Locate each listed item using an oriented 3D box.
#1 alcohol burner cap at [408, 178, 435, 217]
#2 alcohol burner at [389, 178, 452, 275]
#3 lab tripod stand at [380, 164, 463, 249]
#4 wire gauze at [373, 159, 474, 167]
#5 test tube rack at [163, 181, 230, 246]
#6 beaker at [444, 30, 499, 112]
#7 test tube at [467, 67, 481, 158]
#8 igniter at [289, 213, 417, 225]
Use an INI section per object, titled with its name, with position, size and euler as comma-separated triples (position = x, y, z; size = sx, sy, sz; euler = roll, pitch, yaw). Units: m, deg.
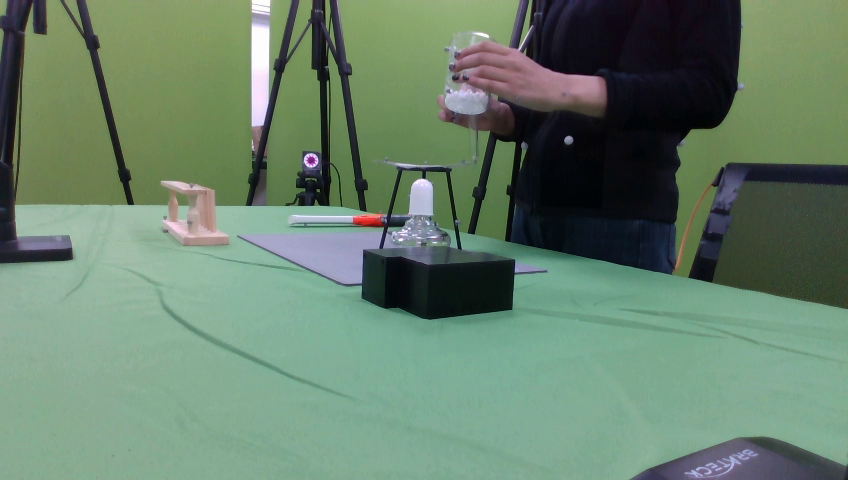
[alcohol burner cap]
position = -0.002, -0.053, 0.746
size = 0.034, 0.048, 0.034
euler = 2, 3, 0
[alcohol burner]
position = -0.004, -0.017, 0.749
size = 0.078, 0.119, 0.078
euler = 1, 9, 0
[lab tripod stand]
position = -0.003, -0.055, 0.967
size = 0.148, 0.131, 0.148
euler = 2, 9, 0
[wire gauze]
position = -0.004, -0.122, 0.959
size = 0.122, 0.011, 0.124
euler = -4, 9, -33
[test tube rack]
position = -0.387, -0.050, 1.015
size = 0.067, 0.085, 0.241
euler = -2, 9, -30
[beaker]
position = 0.069, -0.246, 0.898
size = 0.074, 0.100, 0.084
euler = 7, -8, 8
[test tube]
position = 0.082, -0.209, 0.999
size = 0.017, 0.150, 0.017
euler = -5, 25, 2
[igniter]
position = -0.144, -0.045, 1.275
size = 0.278, 0.025, 0.057
euler = -1, -2, -27
